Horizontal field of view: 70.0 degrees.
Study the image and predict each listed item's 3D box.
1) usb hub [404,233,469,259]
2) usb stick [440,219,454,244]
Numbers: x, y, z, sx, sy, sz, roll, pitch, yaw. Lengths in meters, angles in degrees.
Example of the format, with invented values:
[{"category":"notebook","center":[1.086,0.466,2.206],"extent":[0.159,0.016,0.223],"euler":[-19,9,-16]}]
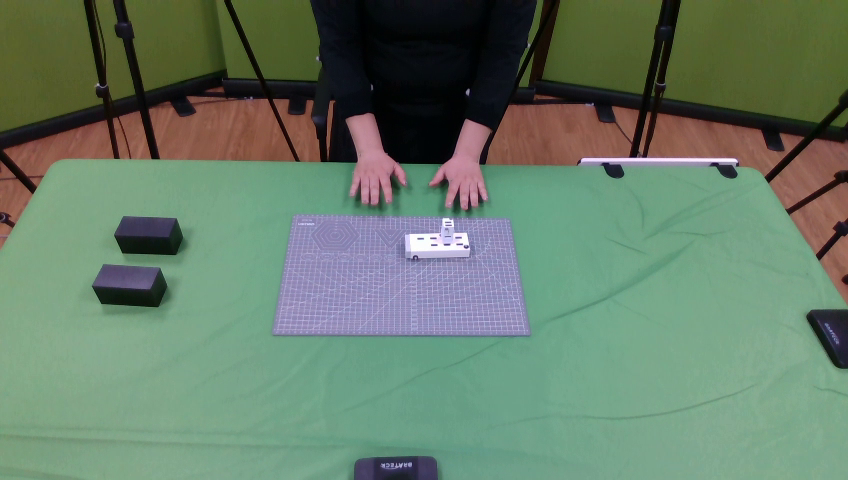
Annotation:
[{"category":"usb hub","center":[0.024,0.012,1.181],"extent":[0.125,0.025,0.049],"euler":[-2,46,-5]},{"category":"usb stick","center":[0.043,-0.011,1.165],"extent":[0.021,0.059,0.027],"euler":[-3,48,-9]}]
